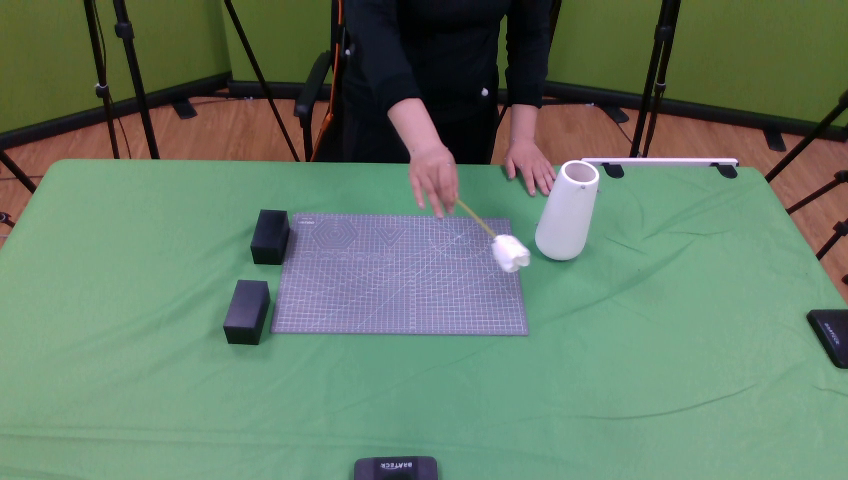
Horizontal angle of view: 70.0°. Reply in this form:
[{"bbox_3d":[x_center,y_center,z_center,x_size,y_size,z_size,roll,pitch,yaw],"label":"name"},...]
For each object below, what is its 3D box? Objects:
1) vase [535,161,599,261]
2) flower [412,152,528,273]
[{"bbox_3d":[0.270,-0.051,1.145,0.098,0.201,0.097,1,46,-1],"label":"vase"},{"bbox_3d":[0.058,-0.063,0.985,0.038,0.044,0.359,24,19,-40],"label":"flower"}]
